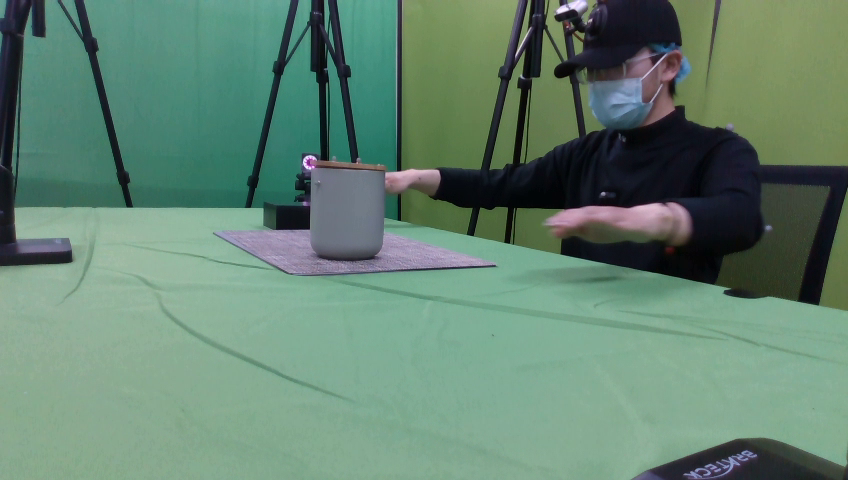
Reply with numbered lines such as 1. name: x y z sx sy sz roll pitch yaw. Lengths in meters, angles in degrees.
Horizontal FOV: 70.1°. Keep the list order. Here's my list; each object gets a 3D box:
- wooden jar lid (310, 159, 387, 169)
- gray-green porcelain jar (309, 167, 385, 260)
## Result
1. wooden jar lid: -0.107 -0.101 0.851 0.108 0.020 0.108 4 6 0
2. gray-green porcelain jar: -0.109 -0.040 0.859 0.106 0.126 0.106 2 7 0
